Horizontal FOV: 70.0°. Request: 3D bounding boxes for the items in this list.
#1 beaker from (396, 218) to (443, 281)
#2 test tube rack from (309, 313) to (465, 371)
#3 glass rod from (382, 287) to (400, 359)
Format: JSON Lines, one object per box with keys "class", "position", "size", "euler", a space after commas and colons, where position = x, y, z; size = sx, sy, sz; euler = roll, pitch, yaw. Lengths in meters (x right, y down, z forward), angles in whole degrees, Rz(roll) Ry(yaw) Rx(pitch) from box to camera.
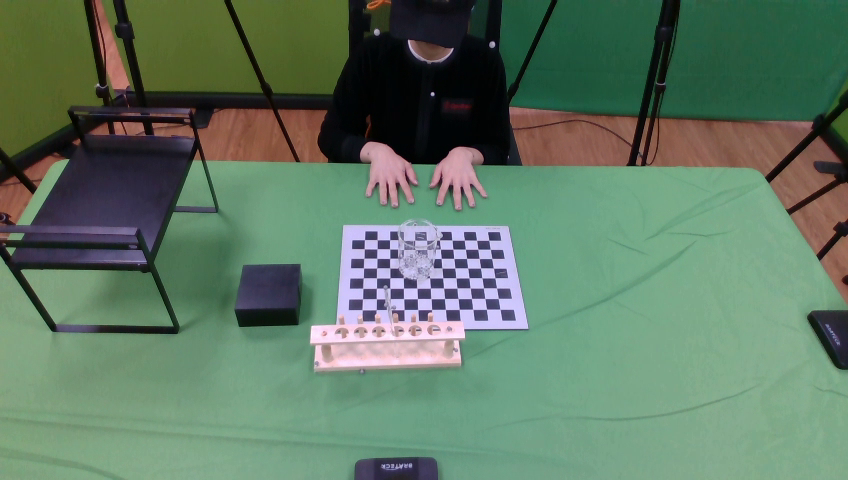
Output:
{"class": "beaker", "position": [-0.010, 0.020, 1.116], "size": [0.084, 0.101, 0.073], "euler": [1, 46, -3]}
{"class": "test tube rack", "position": [-0.059, 0.161, 0.990], "size": [0.242, 0.085, 0.066], "euler": [-1, 46, -5]}
{"class": "glass rod", "position": [-0.049, 0.133, 0.926], "size": [0.008, 0.201, 0.008], "euler": [-2, 50, 3]}
